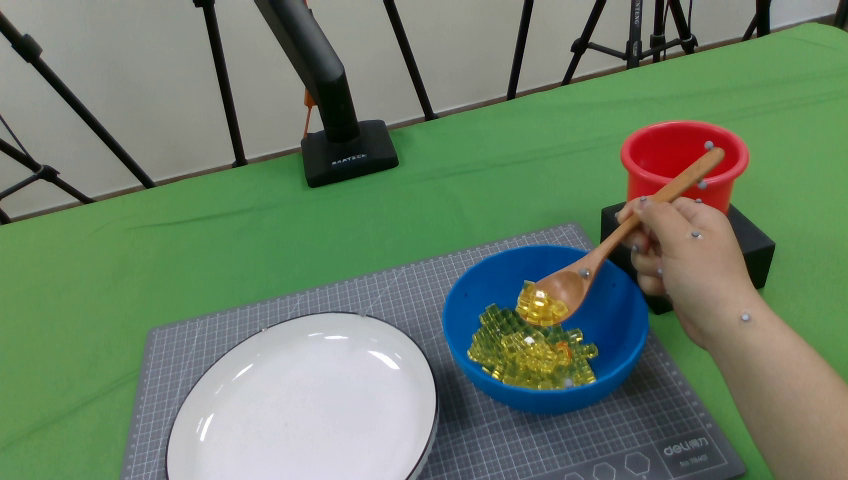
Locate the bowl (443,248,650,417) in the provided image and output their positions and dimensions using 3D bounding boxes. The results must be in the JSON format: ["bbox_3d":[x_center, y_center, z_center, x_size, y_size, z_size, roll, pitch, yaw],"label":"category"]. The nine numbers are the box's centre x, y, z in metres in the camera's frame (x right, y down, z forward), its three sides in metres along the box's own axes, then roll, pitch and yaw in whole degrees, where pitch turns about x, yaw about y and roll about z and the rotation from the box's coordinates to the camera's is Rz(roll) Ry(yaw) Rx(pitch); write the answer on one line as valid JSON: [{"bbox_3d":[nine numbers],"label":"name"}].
[{"bbox_3d":[0.094,0.083,0.471,0.151,0.077,0.150,-7,39,6],"label":"bowl"}]

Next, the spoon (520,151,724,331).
[{"bbox_3d":[0.148,-0.001,0.446,0.194,0.022,0.041,-43,43,3],"label":"spoon"}]

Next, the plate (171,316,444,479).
[{"bbox_3d":[-0.085,0.146,0.470,0.207,0.039,0.205,-7,39,6],"label":"plate"}]
